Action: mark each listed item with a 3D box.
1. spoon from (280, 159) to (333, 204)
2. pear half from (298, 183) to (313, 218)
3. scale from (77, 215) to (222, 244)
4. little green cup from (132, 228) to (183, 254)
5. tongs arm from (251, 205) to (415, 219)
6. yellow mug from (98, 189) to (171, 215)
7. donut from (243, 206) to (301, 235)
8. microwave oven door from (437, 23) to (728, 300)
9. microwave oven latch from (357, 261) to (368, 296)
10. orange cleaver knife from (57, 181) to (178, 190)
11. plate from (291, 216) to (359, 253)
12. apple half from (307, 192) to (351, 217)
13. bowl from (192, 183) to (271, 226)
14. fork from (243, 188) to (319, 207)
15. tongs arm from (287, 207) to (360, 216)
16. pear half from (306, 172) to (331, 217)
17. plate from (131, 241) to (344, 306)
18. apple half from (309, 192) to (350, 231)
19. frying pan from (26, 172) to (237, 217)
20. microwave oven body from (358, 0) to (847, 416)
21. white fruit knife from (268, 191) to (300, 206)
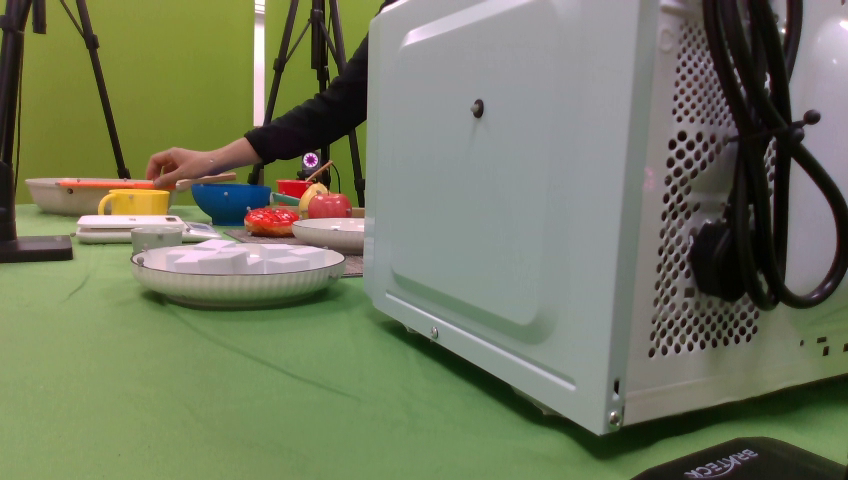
[{"bbox_3d":[-0.317,-0.159,1.640,0.194,0.022,0.041,-49,32,-20],"label":"spoon"},{"bbox_3d":[-0.235,-0.071,1.207,0.031,0.088,0.070,3,10,0],"label":"pear half"},{"bbox_3d":[-0.434,-0.019,0.963,0.202,0.031,0.148,-1,9,-27],"label":"scale"},{"bbox_3d":[-0.342,0.006,0.779,0.061,0.038,0.061,2,8,0],"label":"little green cup"},{"bbox_3d":[-0.211,-0.066,1.440,0.389,0.027,0.028,1,-1,-17],"label":"tongs arm"},{"bbox_3d":[-0.519,-0.055,1.080,0.099,0.064,0.131,7,9,26],"label":"yellow mug"},{"bbox_3d":[-0.261,-0.032,1.043,0.099,0.048,0.099,3,9,0],"label":"donut"},{"bbox_3d":[0.181,-0.073,0.621,0.358,0.243,0.039,-2,8,-29],"label":"microwave oven door"},{"bbox_3d":[-0.019,0.033,0.532,0.079,0.029,0.030,-1,8,-30],"label":"microwave oven latch"},{"bbox_3d":[-0.600,-0.109,1.189,0.212,0.012,0.077,-1,11,-26],"label":"orange cleaver knife"},{"bbox_3d":[-0.103,-0.009,0.945,0.209,0.038,0.209,2,8,0],"label":"plate"},{"bbox_3d":[-0.174,-0.049,1.087,0.081,0.074,0.053,6,10,2],"label":"apple half"},{"bbox_3d":[-0.382,-0.071,1.202,0.151,0.077,0.151,3,7,0],"label":"bowl"},{"bbox_3d":[-0.356,-0.105,1.526,0.208,0.018,0.028,16,-5,-41],"label":"fork"},{"bbox_3d":[-0.174,-0.060,1.364,0.387,0.026,0.050,-1,3,-31],"label":"tongs arm"},{"bbox_3d":[-0.199,-0.080,1.203,0.056,0.110,0.076,3,12,2],"label":"pear half"},{"bbox_3d":[-0.187,0.033,0.625,0.208,0.039,0.207,2,8,0],"label":"plate"},{"bbox_3d":[-0.173,-0.055,1.125,0.081,0.081,0.033,2,10,2],"label":"apple half"},{"bbox_3d":[-0.624,-0.118,1.387,0.305,0.102,0.490,8,17,32],"label":"frying pan"},{"bbox_3d":[0.211,-0.047,0.474,0.444,0.260,0.324,-1,7,-28],"label":"microwave oven body"},{"bbox_3d":[-0.364,-0.105,1.464,0.208,0.027,0.016,15,0,-34],"label":"white fruit knife"}]
